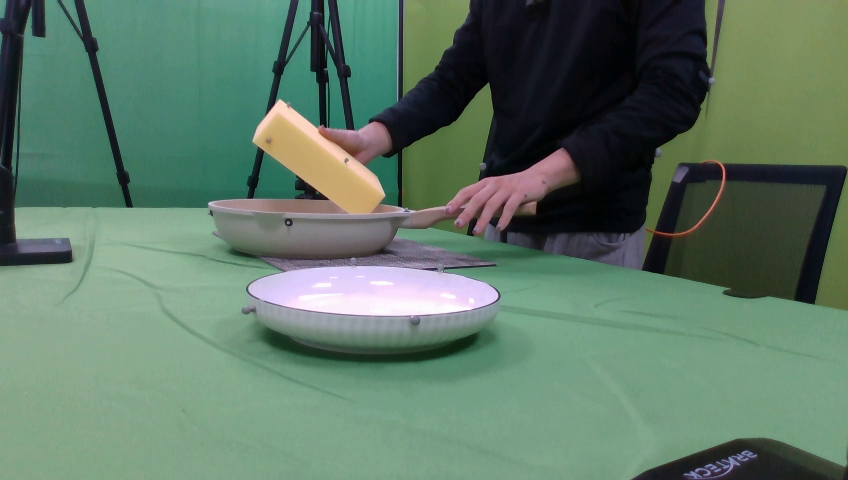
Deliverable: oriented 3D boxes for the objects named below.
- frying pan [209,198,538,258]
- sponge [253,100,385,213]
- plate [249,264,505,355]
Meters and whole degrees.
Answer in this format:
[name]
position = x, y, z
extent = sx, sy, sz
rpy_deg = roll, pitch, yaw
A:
[frying pan]
position = -0.076, -0.034, 0.912
extent = 0.487, 0.102, 0.307
rpy_deg = -5, 7, 12
[sponge]
position = -0.165, -0.126, 0.963
extent = 0.207, 0.061, 0.118
rpy_deg = 37, 10, -24
[plate]
position = -0.037, 0.056, 0.504
extent = 0.208, 0.039, 0.207
rpy_deg = 2, 7, 0
